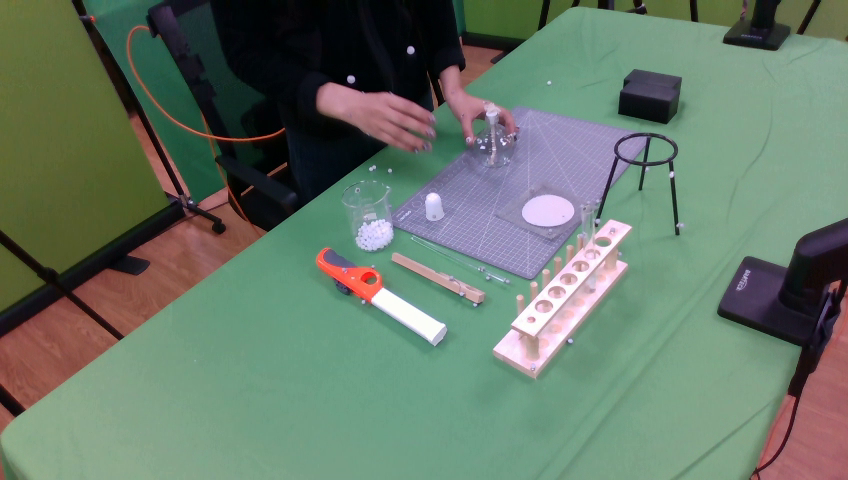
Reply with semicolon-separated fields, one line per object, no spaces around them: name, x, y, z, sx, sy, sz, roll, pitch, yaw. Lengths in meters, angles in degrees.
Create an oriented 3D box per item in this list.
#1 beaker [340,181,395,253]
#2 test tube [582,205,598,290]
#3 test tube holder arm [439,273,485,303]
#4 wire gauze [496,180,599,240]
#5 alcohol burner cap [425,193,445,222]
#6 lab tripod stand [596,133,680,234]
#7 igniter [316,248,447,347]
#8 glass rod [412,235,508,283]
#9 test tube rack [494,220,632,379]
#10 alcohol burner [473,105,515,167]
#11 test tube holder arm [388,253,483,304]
beaker;-0.087;-0.037;0.985;0.084;0.101;0.073;-18;41;-11
test tube;0.220;0.014;0.798;0.017;0.151;0.017;-9;43;9
test tube holder arm;0.052;0.071;0.895;0.087;0.015;0.010;24;13;34
wire gauze;0.206;-0.050;1.012;0.125;0.011;0.120;-34;45;-26
alcohol burner cap;0.017;-0.058;1.029;0.034;0.048;0.033;-5;40;5
lab tripod stand;0.338;-0.090;0.940;0.148;0.132;0.147;-7;39;6
igniter;-0.074;0.079;0.901;0.274;0.025;0.057;29;64;36
glass rod;0.051;0.028;0.951;0.198;0.008;0.008;25;52;37
test tube rack;0.191;0.068;0.818;0.066;0.085;0.243;25;51;35
alcohol burner;0.128;-0.196;1.116;0.078;0.119;0.077;-4;39;4
test tube holder arm;0.014;0.056;0.915;0.177;0.015;0.013;23;13;32
